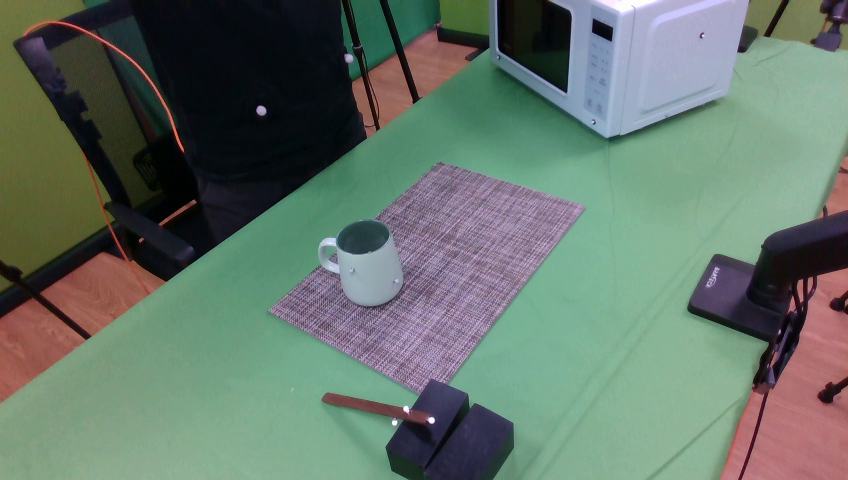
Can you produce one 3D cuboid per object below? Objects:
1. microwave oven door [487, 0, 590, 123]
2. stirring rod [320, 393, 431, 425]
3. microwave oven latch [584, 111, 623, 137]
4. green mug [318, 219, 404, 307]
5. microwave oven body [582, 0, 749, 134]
[{"bbox_3d":[0.232,-0.420,1.231,0.039,0.245,0.352,-22,43,-16],"label":"microwave oven door"},{"bbox_3d":[-0.061,0.198,0.712,0.175,0.006,0.014,-2,37,39],"label":"stirring rod"},{"bbox_3d":[0.337,-0.222,1.142,0.030,0.029,0.078,-21,42,-14],"label":"microwave oven latch"},{"bbox_3d":[-0.096,0.032,0.876,0.125,0.105,0.092,8,43,17],"label":"green mug"},{"bbox_3d":[0.382,-0.444,1.246,0.327,0.261,0.437,-22,42,-16],"label":"microwave oven body"}]
